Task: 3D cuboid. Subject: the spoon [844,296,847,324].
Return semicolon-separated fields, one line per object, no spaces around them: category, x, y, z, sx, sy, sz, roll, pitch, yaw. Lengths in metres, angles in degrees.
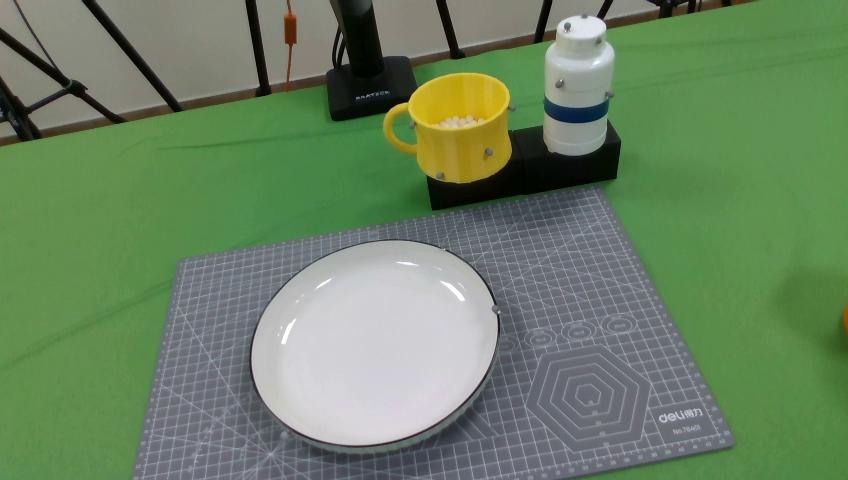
spoon;0.392;0.001;0.434;0.194;0.022;0.041;-45;39;22

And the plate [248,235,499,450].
plate;-0.040;0.082;0.509;0.207;0.039;0.205;-4;46;5

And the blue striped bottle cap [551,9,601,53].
blue striped bottle cap;0.136;-0.188;0.543;0.044;0.021;0.044;-6;46;7

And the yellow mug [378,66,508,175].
yellow mug;0.017;-0.120;0.608;0.130;0.064;0.099;-1;46;10

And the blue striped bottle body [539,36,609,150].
blue striped bottle body;0.142;-0.152;0.580;0.063;0.122;0.062;-5;46;5
